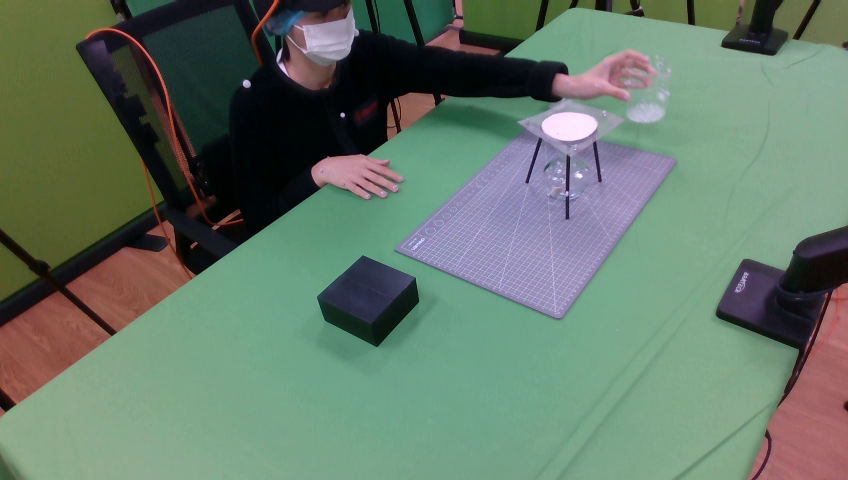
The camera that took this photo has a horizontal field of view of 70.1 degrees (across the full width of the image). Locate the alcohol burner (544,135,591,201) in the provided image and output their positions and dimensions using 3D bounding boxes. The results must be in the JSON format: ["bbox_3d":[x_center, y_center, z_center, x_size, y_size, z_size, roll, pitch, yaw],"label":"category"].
[{"bbox_3d":[0.240,-0.125,1.012,0.078,0.119,0.077,-5,42,5],"label":"alcohol burner"}]

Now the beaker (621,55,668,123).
[{"bbox_3d":[0.390,-0.264,1.068,0.074,0.101,0.083,-28,40,-17],"label":"beaker"}]

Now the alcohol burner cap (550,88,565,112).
[{"bbox_3d":[0.281,-0.297,1.271,0.034,0.048,0.033,-4,41,4],"label":"alcohol burner cap"}]

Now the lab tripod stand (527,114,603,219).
[{"bbox_3d":[0.234,-0.129,1.002,0.148,0.132,0.147,-6,40,6],"label":"lab tripod stand"}]

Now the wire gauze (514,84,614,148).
[{"bbox_3d":[0.220,-0.194,0.951,0.120,0.011,0.125,23,56,25],"label":"wire gauze"}]
